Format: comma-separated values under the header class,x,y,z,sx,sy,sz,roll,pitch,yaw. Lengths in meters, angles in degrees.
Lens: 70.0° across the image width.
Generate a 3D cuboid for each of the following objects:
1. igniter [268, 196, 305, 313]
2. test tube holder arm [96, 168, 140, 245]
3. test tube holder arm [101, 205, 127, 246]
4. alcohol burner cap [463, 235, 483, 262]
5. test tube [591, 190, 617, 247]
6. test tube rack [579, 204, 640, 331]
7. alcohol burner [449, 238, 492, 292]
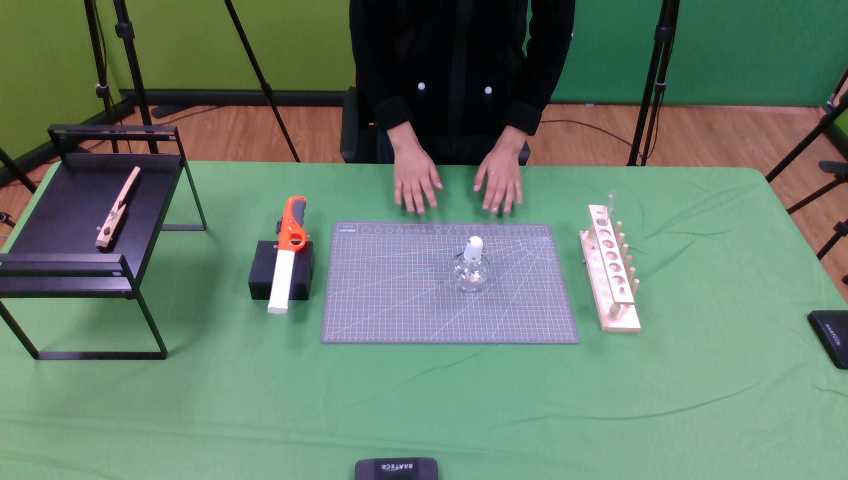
class,x,y,z,sx,sy,sz,roll,pitch,yaw
igniter,-0.248,0.016,1.095,0.057,0.025,0.274,8,46,-12
test tube holder arm,-0.486,-0.058,0.968,0.013,0.015,0.177,27,37,-27
test tube holder arm,-0.480,-0.025,0.938,0.010,0.015,0.087,27,37,-26
alcohol burner cap,0.089,0.013,1.075,0.034,0.048,0.033,4,47,-4
test tube,0.340,-0.038,1.149,0.017,0.151,0.017,1,50,-1
test tube rack,0.353,0.047,1.137,0.067,0.085,0.241,2,46,-2
alcohol burner,0.086,0.038,1.101,0.078,0.119,0.077,3,45,-2
